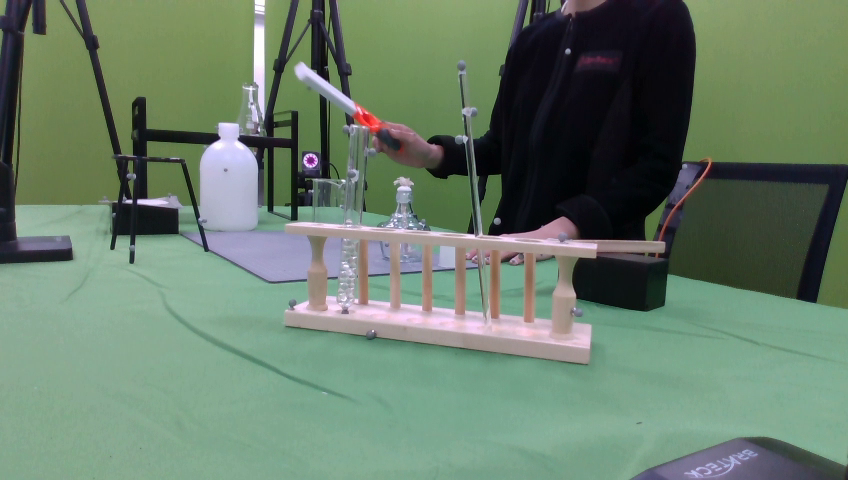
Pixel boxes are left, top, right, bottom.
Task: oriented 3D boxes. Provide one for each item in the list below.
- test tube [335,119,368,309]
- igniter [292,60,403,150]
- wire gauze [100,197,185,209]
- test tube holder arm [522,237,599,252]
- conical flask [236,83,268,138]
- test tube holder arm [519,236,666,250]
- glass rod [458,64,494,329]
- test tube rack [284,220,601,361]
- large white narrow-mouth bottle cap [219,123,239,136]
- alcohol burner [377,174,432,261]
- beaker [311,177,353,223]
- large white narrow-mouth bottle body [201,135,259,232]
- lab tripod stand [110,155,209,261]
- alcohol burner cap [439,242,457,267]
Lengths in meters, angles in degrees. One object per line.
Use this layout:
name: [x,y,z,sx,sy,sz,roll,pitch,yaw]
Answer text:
test tube: [-0.057,-0.019,0.477,0.017,0.150,0.017,5,9,-1]
igniter: [-0.124,-0.230,1.065,0.025,0.057,0.278,-36,-35,19]
wire gauze: [-0.469,-0.062,1.008,0.126,0.011,0.121,-2,8,-25]
test tube holder arm: [0.144,0.005,0.636,0.088,0.015,0.010,-1,16,-19]
conical flask: [-0.399,-0.298,1.396,0.075,0.122,0.075,2,8,0]
test tube holder arm: [0.186,0.003,0.656,0.179,0.015,0.013,-1,16,-19]
glass rod: [0.039,-0.029,0.449,0.008,0.199,0.008,-7,9,1]
test tube rack: [0.013,0.032,0.482,0.242,0.085,0.067,4,7,16]
large white narrow-mouth bottle cap: [-0.356,-0.202,1.104,0.038,0.024,0.037,2,8,0]
alcohol burner: [-0.027,-0.031,0.838,0.078,0.119,0.078,0,6,0]
beaker: [-0.167,-0.064,1.106,0.074,0.100,0.083,-2,9,-26]
large white narrow-mouth bottle body: [-0.358,-0.116,1.116,0.102,0.194,0.102,2,8,0]
lab tripod stand: [-0.361,-0.046,0.806,0.148,0.131,0.148,2,5,0]
alcohol burner cap: [0.038,0.011,0.807,0.034,0.048,0.034,3,8,0]
